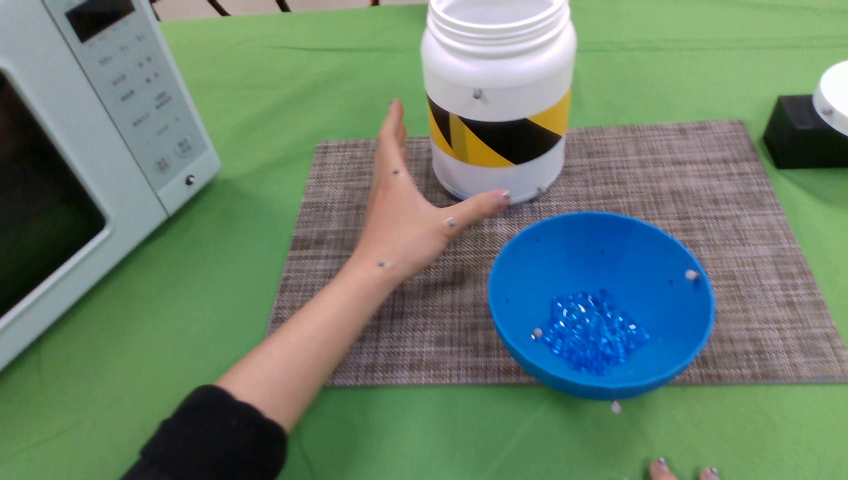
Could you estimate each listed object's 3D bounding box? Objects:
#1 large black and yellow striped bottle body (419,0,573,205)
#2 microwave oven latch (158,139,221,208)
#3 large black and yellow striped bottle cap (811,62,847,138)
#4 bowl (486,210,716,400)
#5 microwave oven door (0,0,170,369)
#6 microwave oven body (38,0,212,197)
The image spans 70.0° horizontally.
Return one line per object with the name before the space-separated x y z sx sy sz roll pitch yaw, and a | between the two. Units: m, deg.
large black and yellow striped bottle body | 0.064 -0.137 0.547 0.131 0.186 0.129 -3 49 4
microwave oven latch | -0.238 -0.069 0.603 0.030 0.030 0.079 23 56 23
large black and yellow striped bottle cap | 0.415 -0.124 0.544 0.115 0.019 0.114 -4 48 5
bowl | 0.121 0.058 0.441 0.151 0.077 0.150 -3 49 4
microwave oven door | -0.359 0.012 0.410 0.039 0.246 0.354 20 54 23
microwave oven body | -0.463 -0.060 0.492 0.324 0.263 0.440 21 55 22
